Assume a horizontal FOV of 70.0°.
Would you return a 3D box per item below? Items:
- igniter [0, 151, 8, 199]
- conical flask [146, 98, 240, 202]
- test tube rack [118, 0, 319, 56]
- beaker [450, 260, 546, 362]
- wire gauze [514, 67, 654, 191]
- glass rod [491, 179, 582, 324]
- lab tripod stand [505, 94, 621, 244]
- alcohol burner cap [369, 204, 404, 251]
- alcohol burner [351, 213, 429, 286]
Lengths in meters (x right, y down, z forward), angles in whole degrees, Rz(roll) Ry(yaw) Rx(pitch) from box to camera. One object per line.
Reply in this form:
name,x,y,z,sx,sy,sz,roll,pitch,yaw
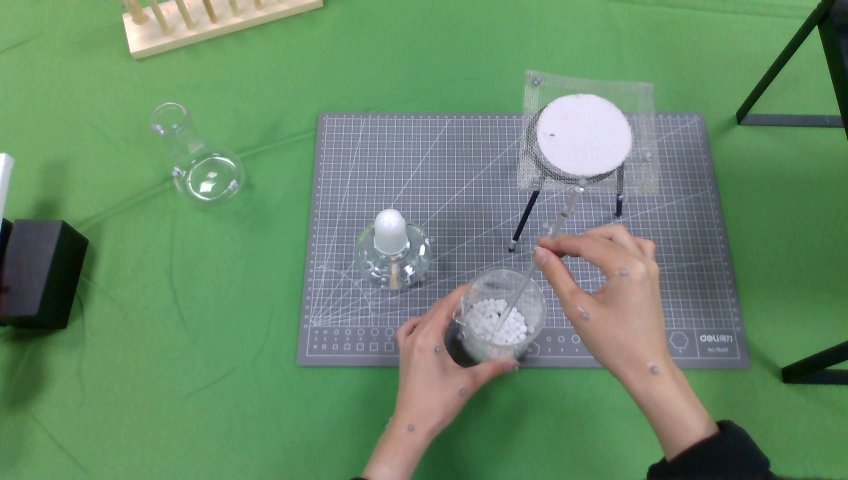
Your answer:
igniter,-0.434,0.037,0.576,0.057,0.025,0.274,-8,67,2
conical flask,-0.244,-0.096,0.628,0.075,0.123,0.075,0,67,1
test tube rack,-0.258,-0.309,0.734,0.242,0.086,0.066,-19,69,-7
beaker,0.064,0.072,0.567,0.084,0.101,0.073,-10,67,-4
wire gauze,0.145,-0.101,0.546,0.121,0.011,0.124,6,68,1
glass rod,0.085,0.018,0.487,0.008,0.201,0.008,7,53,-9
lab tripod stand,0.138,-0.071,0.607,0.148,0.132,0.147,1,66,-1
alcohol burner cap,-0.035,-0.014,0.556,0.034,0.048,0.033,1,61,-2
alcohol burner,-0.034,0.002,0.590,0.078,0.120,0.077,1,66,-1
